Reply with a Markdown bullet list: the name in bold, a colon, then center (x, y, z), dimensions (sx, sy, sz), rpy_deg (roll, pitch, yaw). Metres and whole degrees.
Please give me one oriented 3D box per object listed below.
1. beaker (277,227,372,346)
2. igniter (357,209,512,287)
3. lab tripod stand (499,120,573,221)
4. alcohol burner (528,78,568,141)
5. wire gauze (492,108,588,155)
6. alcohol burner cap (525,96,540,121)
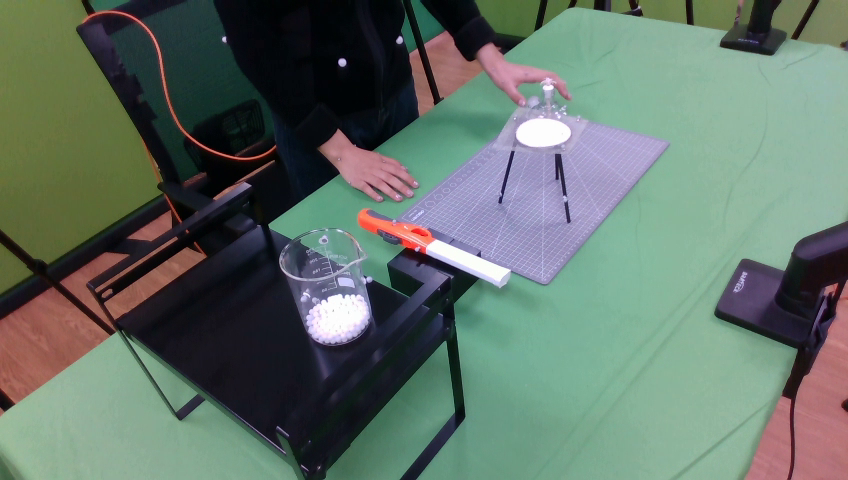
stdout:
- **beaker**: center (-0.090, 0.048, 0.593), dimensions (0.084, 0.101, 0.073), rpy_deg (-3, 41, 5)
- **igniter**: center (0.004, 0.006, 0.891), dimensions (0.274, 0.025, 0.057), rpy_deg (23, 37, 30)
- **lab tripod stand**: center (0.198, -0.117, 0.992), dimensions (0.148, 0.132, 0.147), rpy_deg (-3, 40, 3)
- **alcohol burner**: center (0.238, -0.254, 1.163), dimensions (0.078, 0.119, 0.077), rpy_deg (-6, 40, 6)
- **wire gauze**: center (0.185, -0.170, 0.953), dimensions (0.121, 0.011, 0.125), rpy_deg (13, 44, 22)
- **alcohol burner cap**: center (0.225, -0.274, 1.243), dimensions (0.034, 0.048, 0.033), rpy_deg (-1, 41, 1)
